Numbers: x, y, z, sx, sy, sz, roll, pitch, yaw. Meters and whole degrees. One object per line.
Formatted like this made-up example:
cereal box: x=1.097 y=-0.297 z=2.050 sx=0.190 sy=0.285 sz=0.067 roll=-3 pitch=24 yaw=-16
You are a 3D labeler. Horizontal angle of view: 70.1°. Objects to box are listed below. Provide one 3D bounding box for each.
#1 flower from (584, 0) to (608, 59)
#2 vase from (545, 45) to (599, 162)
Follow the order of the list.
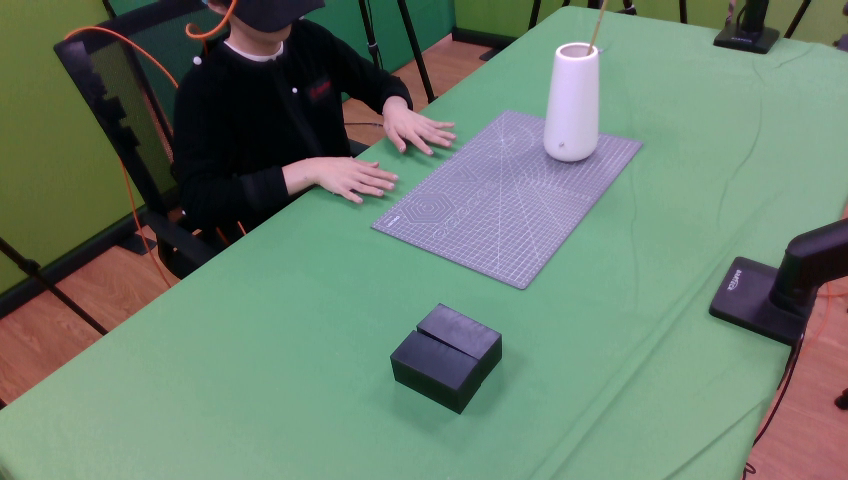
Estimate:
flower: x=0.274 y=-0.306 z=1.025 sx=0.038 sy=0.362 sz=0.044 roll=12 pitch=36 yaw=-1
vase: x=0.267 y=-0.238 z=1.074 sx=0.098 sy=0.201 sz=0.097 roll=-4 pitch=42 yaw=4
